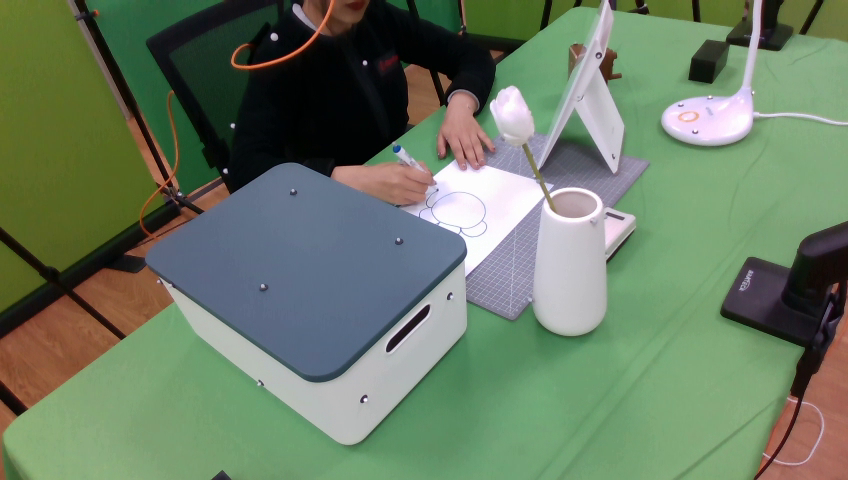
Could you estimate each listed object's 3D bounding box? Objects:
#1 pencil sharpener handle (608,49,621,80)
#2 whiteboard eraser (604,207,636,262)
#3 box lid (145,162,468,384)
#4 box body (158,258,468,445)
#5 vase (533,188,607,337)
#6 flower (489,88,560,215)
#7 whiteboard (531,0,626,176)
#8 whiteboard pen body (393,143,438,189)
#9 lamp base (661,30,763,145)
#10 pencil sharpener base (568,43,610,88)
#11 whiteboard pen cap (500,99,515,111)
[{"bbox_3d":[0.394,-0.367,1.253,0.030,0.068,0.036,-8,32,1],"label":"pencil sharpener handle"},{"bbox_3d":[0.272,-0.003,0.919,0.055,0.042,0.113,27,51,32],"label":"whiteboard eraser"},{"bbox_3d":[-0.157,0.014,0.769,0.368,0.015,0.264,25,51,33],"label":"box lid"},{"bbox_3d":[-0.147,0.072,0.816,0.361,0.161,0.255,24,50,33],"label":"box body"},{"bbox_3d":[0.187,0.033,0.771,0.098,0.201,0.097,-6,41,6],"label":"vase"},{"bbox_3d":[0.158,-0.028,0.720,0.038,0.364,0.044,-14,44,23],"label":"flower"},{"bbox_3d":[0.320,-0.259,1.050,0.144,0.306,0.217,22,45,6],"label":"whiteboard"},{"bbox_3d":[-0.011,-0.124,1.045,0.017,0.142,0.017,-17,56,26],"label":"whiteboard pen body"},{"bbox_3d":[0.535,-0.287,1.096,0.179,0.181,0.159,-10,40,-4],"label":"lamp base"},{"bbox_3d":[0.345,-0.352,1.263,0.077,0.107,0.061,-8,40,1],"label":"pencil sharpener base"},{"bbox_3d":[0.177,-0.287,1.290,0.033,0.018,0.018,-37,47,-26],"label":"whiteboard pen cap"}]
